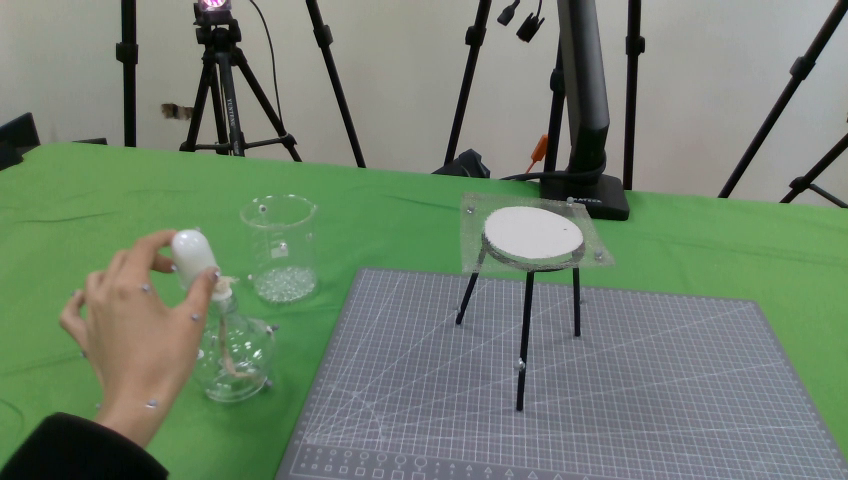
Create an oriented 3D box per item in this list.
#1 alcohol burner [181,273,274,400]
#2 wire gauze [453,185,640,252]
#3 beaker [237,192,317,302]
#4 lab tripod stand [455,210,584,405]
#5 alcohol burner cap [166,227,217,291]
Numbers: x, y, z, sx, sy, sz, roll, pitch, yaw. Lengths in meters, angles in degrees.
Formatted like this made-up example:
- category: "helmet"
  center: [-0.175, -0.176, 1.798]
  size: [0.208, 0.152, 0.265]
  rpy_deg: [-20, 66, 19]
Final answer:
- category: "alcohol burner"
  center: [-0.170, 0.078, 0.521]
  size: [0.078, 0.120, 0.077]
  rpy_deg: [3, 30, -1]
- category: "wire gauze"
  center: [0.100, -0.020, 0.511]
  size: [0.125, 0.011, 0.120]
  rpy_deg: [-2, 27, -20]
- category: "beaker"
  center: [-0.152, 0.008, 0.650]
  size: [0.084, 0.101, 0.073]
  rpy_deg: [-18, 37, -29]
- category: "lab tripod stand"
  center: [0.092, 0.053, 0.552]
  size: [0.148, 0.132, 0.147]
  rpy_deg: [3, 33, -1]
- category: "alcohol burner cap"
  center: [-0.181, 0.012, 0.465]
  size: [0.034, 0.048, 0.033]
  rpy_deg: [0, 41, 0]
